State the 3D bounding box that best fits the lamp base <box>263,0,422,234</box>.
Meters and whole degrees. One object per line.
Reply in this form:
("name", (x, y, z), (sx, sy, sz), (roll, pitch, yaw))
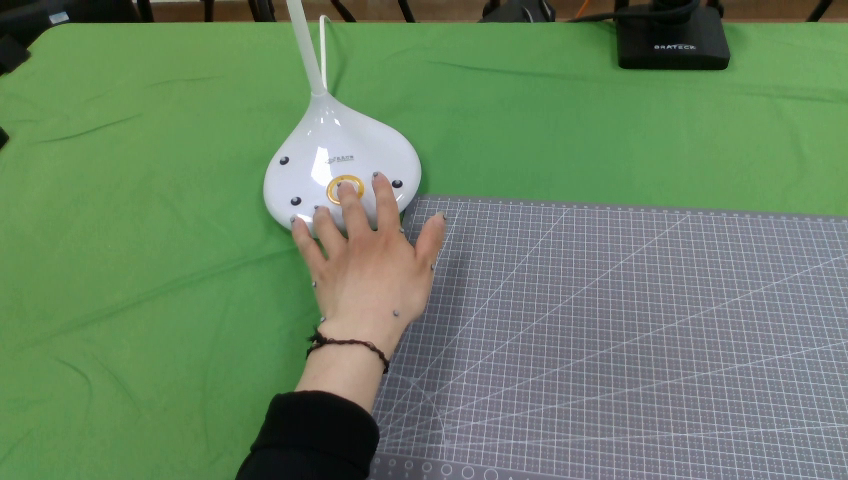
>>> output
("lamp base", (-0.095, -0.125, 0.560), (0.161, 0.182, 0.177), (-19, 48, -9))
